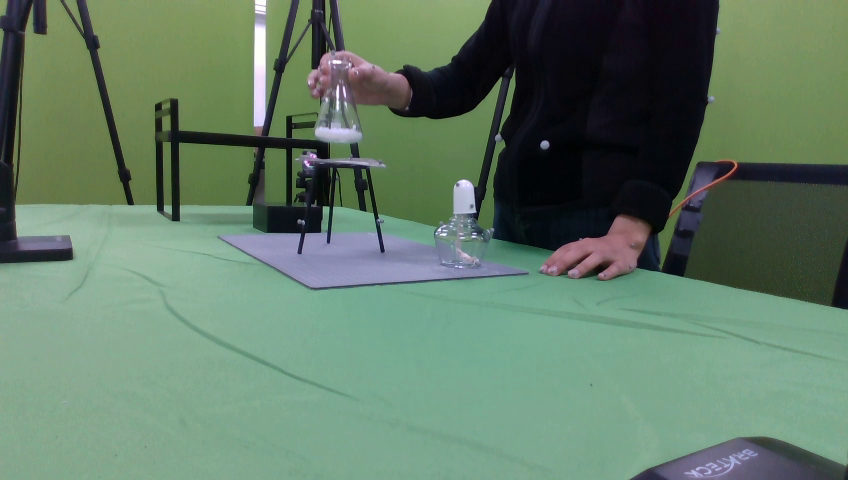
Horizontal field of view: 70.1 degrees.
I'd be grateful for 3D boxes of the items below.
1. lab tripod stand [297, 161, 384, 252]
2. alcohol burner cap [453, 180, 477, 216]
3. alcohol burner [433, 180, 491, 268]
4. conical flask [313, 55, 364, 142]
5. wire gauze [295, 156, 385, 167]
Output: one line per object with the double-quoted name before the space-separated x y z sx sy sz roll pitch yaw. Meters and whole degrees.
"lab tripod stand" -0.130 -0.051 0.903 0.148 0.131 0.148 4 9 0
"alcohol burner cap" 0.054 -0.056 0.811 0.034 0.048 0.034 -3 6 1
"alcohol burner" 0.052 -0.021 0.816 0.078 0.119 0.078 4 7 0
"conical flask" -0.127 -0.209 0.899 0.075 0.122 0.075 1 4 0
"wire gauze" -0.128 -0.118 0.901 0.125 0.011 0.121 0 8 -14
